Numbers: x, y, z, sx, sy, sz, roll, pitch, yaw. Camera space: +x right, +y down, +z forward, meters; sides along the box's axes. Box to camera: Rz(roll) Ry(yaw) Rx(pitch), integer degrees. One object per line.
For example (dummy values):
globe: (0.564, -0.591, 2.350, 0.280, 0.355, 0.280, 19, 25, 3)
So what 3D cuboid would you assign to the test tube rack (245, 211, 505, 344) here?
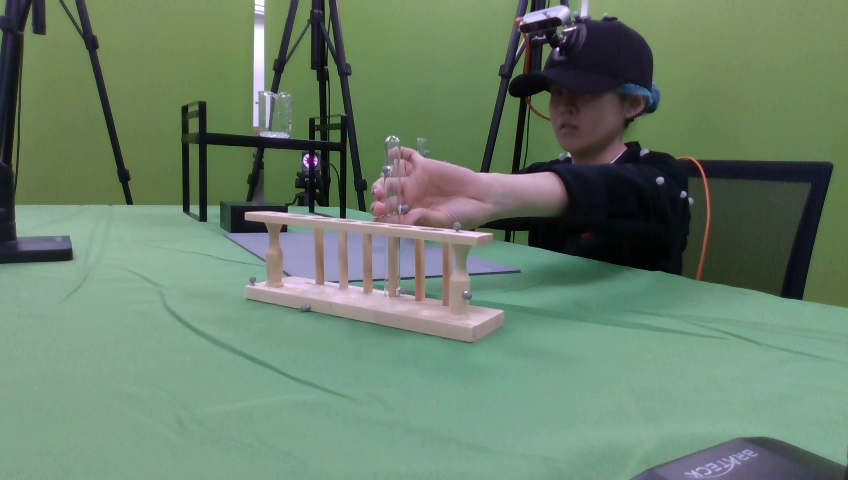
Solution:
test tube rack: (-0.049, 0.025, 0.547, 0.241, 0.085, 0.067, 7, 8, 29)

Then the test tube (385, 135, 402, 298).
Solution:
test tube: (-0.028, -0.020, 0.552, 0.017, 0.150, 0.017, 1, 9, 0)

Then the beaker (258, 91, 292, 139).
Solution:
beaker: (-0.331, -0.276, 1.343, 0.074, 0.100, 0.083, 0, 8, -20)

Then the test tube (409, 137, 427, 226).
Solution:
test tube: (-0.010, -0.091, 0.981, 0.017, 0.150, 0.017, 6, 19, -2)
